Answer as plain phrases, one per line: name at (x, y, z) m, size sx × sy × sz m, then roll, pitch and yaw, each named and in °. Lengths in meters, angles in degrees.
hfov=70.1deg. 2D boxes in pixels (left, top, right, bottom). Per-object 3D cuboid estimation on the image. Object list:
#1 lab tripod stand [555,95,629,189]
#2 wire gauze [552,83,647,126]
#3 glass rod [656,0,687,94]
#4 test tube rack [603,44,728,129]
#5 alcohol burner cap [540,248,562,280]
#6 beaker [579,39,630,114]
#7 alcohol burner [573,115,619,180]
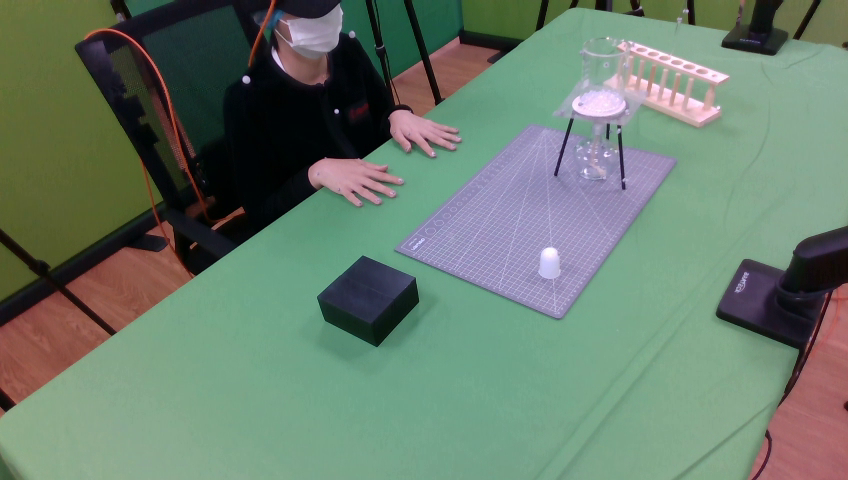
lab tripod stand at (0.300, -0.174, 1.045) m, size 0.148 × 0.132 × 0.147 m, roll -5°, pitch 38°, yaw 5°
wire gauze at (0.293, -0.224, 1.004) m, size 0.120 × 0.011 × 0.125 m, roll 19°, pitch 43°, yaw 26°
glass rod at (0.491, -0.381, 1.199) m, size 0.008 × 0.200 × 0.008 m, roll 1°, pitch 41°, yaw 0°
test tube rack at (0.480, -0.316, 1.227) m, size 0.067 × 0.085 × 0.240 m, roll -28°, pitch 44°, yaw -22°
alcohol burner cap at (0.187, 0.032, 0.888) m, size 0.034 × 0.048 × 0.033 m, roll -4°, pitch 40°, yaw 4°
beaker at (0.289, -0.263, 0.975) m, size 0.073 × 0.101 × 0.084 m, roll 17°, pitch 45°, yaw 27°
alcohol burner at (0.300, -0.164, 1.048) m, size 0.078 × 0.119 × 0.077 m, roll -3°, pitch 40°, yaw 3°
